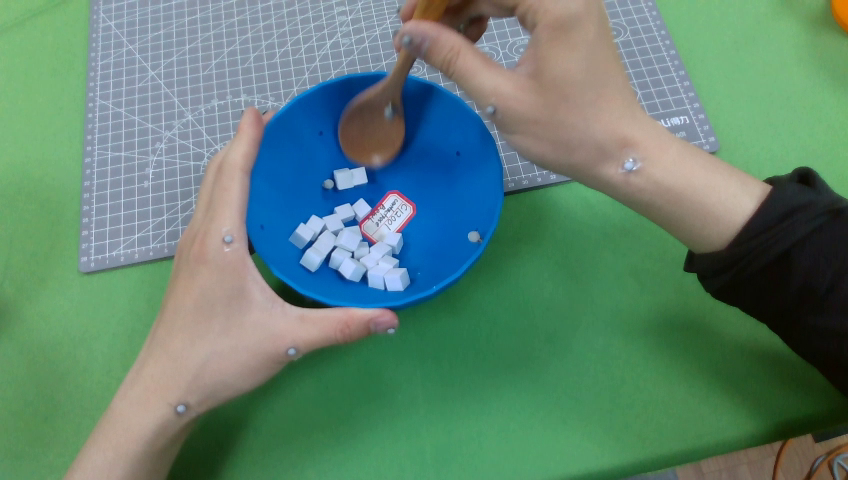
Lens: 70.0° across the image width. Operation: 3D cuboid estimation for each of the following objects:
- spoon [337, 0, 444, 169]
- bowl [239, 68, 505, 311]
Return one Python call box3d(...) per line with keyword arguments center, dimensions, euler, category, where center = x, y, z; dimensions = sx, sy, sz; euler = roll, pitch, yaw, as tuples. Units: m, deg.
box3d(center=(-0.011, -0.093, 0.319), dimensions=(0.042, 0.194, 0.021), euler=(18, 63, -11), category="spoon")
box3d(center=(-0.028, -0.021, 0.377), dimensions=(0.151, 0.077, 0.150), euler=(-1, 70, 2), category="bowl")
